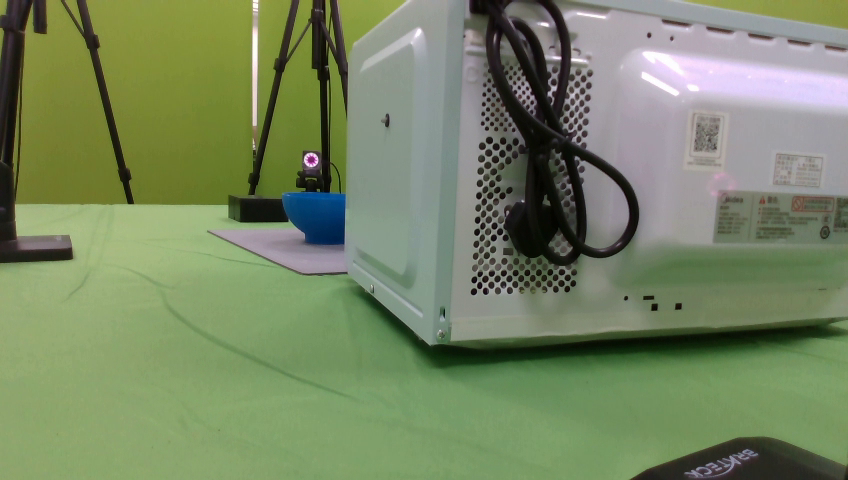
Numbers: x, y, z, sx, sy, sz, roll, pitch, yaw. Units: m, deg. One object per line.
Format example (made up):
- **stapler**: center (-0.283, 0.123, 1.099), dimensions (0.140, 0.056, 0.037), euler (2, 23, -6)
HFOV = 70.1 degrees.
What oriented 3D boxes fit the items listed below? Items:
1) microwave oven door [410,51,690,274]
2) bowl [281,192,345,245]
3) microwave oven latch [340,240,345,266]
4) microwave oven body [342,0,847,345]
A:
- **microwave oven door**: center (0.161, -0.084, 0.723), dimensions (0.357, 0.243, 0.039), euler (0, 8, -20)
- **bowl**: center (-0.158, -0.035, 0.991), dimensions (0.151, 0.077, 0.151), euler (3, 7, 0)
- **microwave oven latch**: center (-0.052, 0.016, 0.662), dimensions (0.079, 0.029, 0.030), euler (1, 7, -18)
- **microwave oven body**: center (0.169, -0.060, 0.573), dimensions (0.444, 0.260, 0.324), euler (1, 7, -20)
